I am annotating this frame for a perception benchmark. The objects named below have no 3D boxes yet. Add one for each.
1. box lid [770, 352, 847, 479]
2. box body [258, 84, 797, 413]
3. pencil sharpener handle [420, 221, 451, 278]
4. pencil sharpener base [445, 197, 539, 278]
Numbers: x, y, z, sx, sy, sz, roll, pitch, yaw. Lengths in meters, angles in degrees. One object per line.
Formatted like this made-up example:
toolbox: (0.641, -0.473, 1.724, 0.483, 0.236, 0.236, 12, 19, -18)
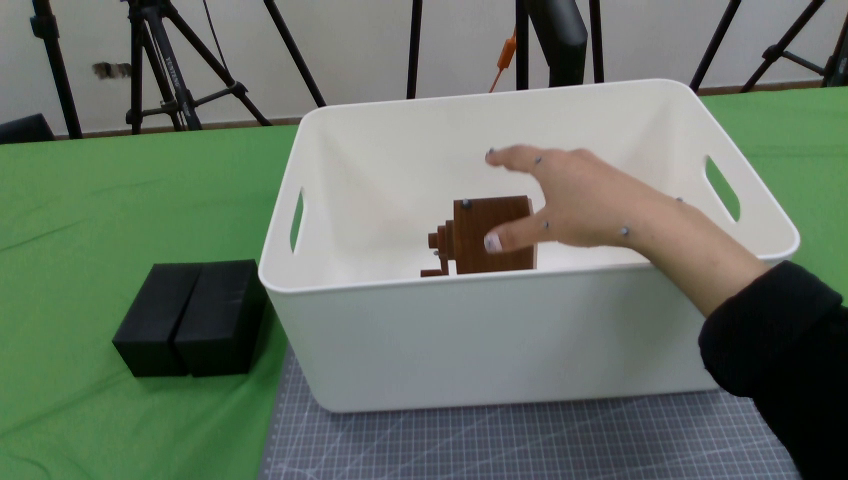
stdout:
box lid: (0.448, 0.185, 0.392, 0.371, 0.015, 0.261, 1, 40, 8)
box body: (0.073, 0.002, 0.534, 0.364, 0.162, 0.251, -4, 40, 2)
pencil sharpener handle: (0.009, 0.014, 0.542, 0.030, 0.068, 0.035, -3, 44, 4)
pencil sharpener base: (0.061, 0.021, 0.546, 0.076, 0.108, 0.061, -3, 41, 4)
